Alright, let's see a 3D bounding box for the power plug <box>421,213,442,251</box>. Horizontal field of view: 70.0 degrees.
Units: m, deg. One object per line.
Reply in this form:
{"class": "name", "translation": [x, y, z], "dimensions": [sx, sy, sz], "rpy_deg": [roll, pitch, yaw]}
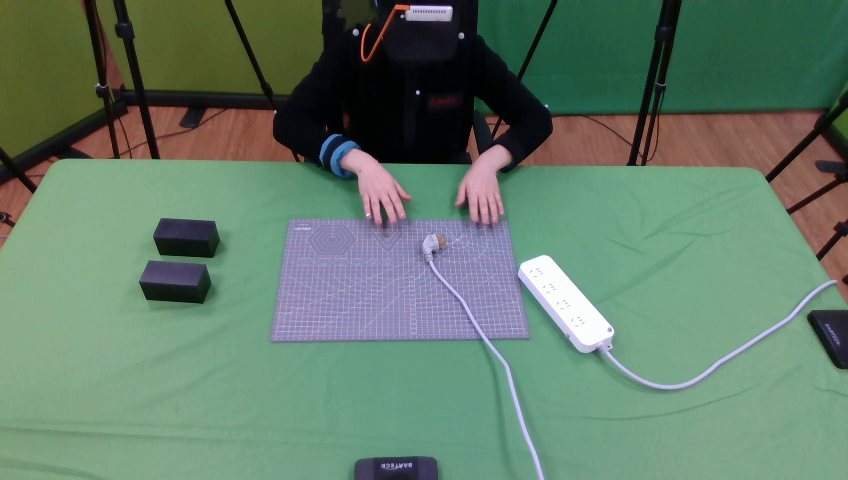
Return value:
{"class": "power plug", "translation": [0.016, -0.015, 1.169], "dimensions": [0.035, 0.072, 0.052], "rpy_deg": [8, 12, -12]}

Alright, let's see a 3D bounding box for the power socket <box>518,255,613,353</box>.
{"class": "power socket", "translation": [0.253, 0.112, 1.099], "dimensions": [0.072, 0.033, 0.225], "rpy_deg": [-19, 51, -20]}
